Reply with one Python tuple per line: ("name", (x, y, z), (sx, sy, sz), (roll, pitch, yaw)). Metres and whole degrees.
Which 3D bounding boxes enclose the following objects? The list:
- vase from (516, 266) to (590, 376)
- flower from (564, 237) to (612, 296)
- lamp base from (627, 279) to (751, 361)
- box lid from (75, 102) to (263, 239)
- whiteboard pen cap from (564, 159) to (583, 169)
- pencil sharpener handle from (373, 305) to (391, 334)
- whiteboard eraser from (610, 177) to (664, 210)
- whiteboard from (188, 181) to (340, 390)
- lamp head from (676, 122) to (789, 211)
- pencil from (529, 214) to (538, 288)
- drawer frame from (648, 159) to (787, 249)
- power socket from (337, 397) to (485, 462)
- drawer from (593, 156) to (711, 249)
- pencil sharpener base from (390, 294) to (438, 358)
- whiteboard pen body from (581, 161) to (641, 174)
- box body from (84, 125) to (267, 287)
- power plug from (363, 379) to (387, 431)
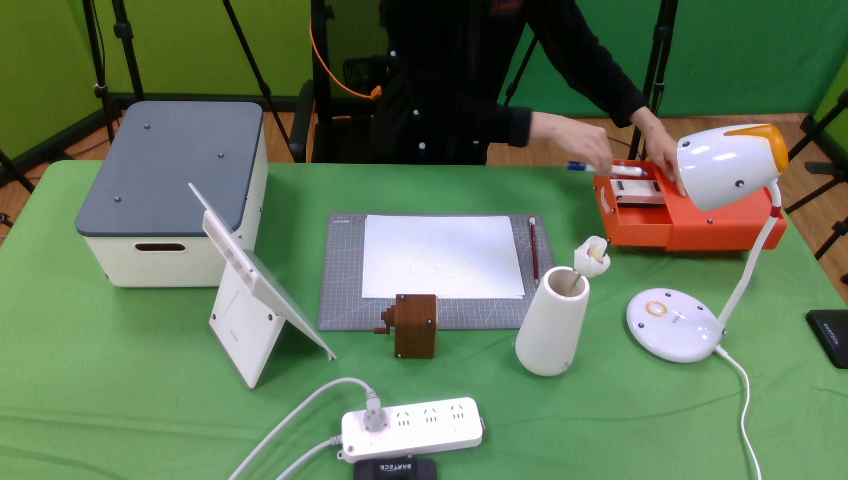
("vase", (0.208, 0.132, 0.964), (0.098, 0.201, 0.097), (3, 46, -3))
("flower", (0.206, 0.088, 0.893), (0.038, 0.363, 0.044), (-17, 67, -9))
("lamp base", (0.459, 0.100, 1.027), (0.178, 0.181, 0.160), (27, 51, 17))
("box lid", (-0.443, -0.138, 1.094), (0.263, 0.015, 0.369), (-1, 47, -5))
("whiteboard pen cap", (0.279, -0.140, 1.124), (0.033, 0.018, 0.018), (4, 46, -8))
("pencil sharpener handle", (-0.069, 0.133, 0.989), (0.030, 0.068, 0.036), (1, 48, -2))
("whiteboard eraser", (0.433, -0.094, 1.240), (0.113, 0.042, 0.055), (8, 49, -6))
("whiteboard", (-0.292, 0.096, 0.929), (0.144, 0.307, 0.216), (-38, 57, -10))
("lamp head", (0.423, -0.104, 0.819), (0.122, 0.113, 0.112), (-13, 33, 40))
("pencil", (0.218, 0.019, 1.202), (0.012, 0.012, 0.193), (5, 48, 1))
("drawer frame", (0.566, -0.075, 1.209), (0.213, 0.083, 0.200), (0, 45, 2))
("power socket", (-0.018, 0.285, 0.915), (0.227, 0.033, 0.071), (-5, 46, -8))
("drawer", (0.459, -0.076, 1.208), (0.212, 0.073, 0.193), (3, 46, -3))
("pencil sharpener base", (-0.018, 0.143, 1.000), (0.077, 0.107, 0.061), (1, 46, -2))
("whiteboard pen body", (0.338, -0.136, 1.132), (0.141, 0.017, 0.017), (4, 46, -9))
("box body", (-0.446, -0.088, 1.150), (0.254, 0.161, 0.361), (-1, 46, -5))
("power plug", (-0.072, 0.252, 0.910), (0.035, 0.053, 0.072), (3, 44, -1))
